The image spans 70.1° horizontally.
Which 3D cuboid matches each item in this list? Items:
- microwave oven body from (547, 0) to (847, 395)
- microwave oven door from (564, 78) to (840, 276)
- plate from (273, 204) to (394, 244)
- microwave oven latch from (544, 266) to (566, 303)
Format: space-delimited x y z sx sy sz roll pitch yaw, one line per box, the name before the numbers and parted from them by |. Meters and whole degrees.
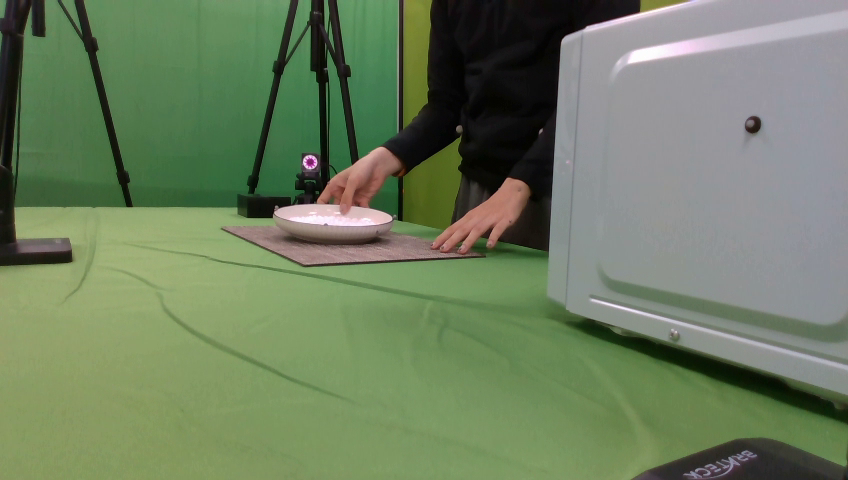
microwave oven body | 0.378 -0.046 0.510 0.444 0.260 0.324 -2 7 -31
microwave oven door | 0.368 -0.093 0.859 0.354 0.243 0.039 8 9 44
plate | -0.158 -0.029 1.062 0.209 0.038 0.209 4 13 0
microwave oven latch | 0.147 0.039 0.555 0.079 0.029 0.030 -1 7 -28
